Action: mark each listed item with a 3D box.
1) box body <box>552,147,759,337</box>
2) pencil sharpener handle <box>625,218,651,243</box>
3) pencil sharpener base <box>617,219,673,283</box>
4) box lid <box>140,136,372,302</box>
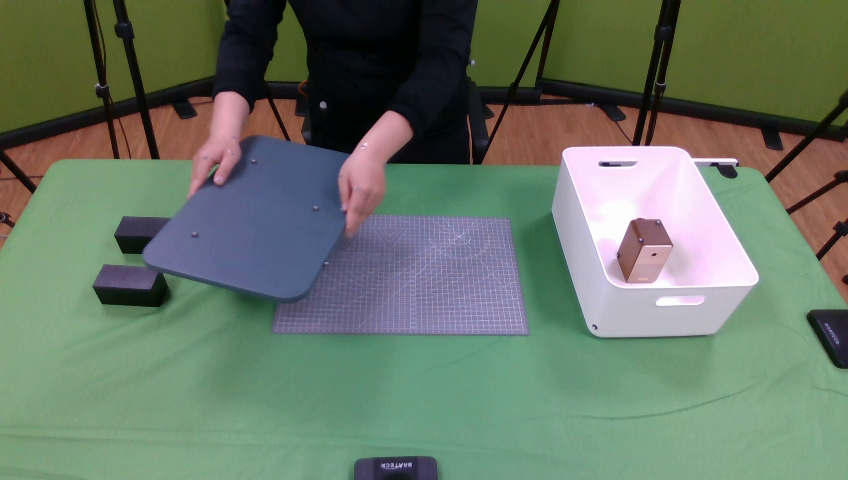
[{"bbox_3d":[0.400,-0.001,1.131,0.254,0.161,0.361,-1,46,-5],"label":"box body"},{"bbox_3d":[0.407,-0.025,1.167,0.036,0.068,0.030,5,44,-10],"label":"pencil sharpener handle"},{"bbox_3d":[0.412,0.020,1.140,0.061,0.107,0.076,-1,45,-4],"label":"pencil sharpener base"},{"bbox_3d":[-0.261,-0.052,1.006,0.263,0.015,0.369,13,43,8],"label":"box lid"}]
